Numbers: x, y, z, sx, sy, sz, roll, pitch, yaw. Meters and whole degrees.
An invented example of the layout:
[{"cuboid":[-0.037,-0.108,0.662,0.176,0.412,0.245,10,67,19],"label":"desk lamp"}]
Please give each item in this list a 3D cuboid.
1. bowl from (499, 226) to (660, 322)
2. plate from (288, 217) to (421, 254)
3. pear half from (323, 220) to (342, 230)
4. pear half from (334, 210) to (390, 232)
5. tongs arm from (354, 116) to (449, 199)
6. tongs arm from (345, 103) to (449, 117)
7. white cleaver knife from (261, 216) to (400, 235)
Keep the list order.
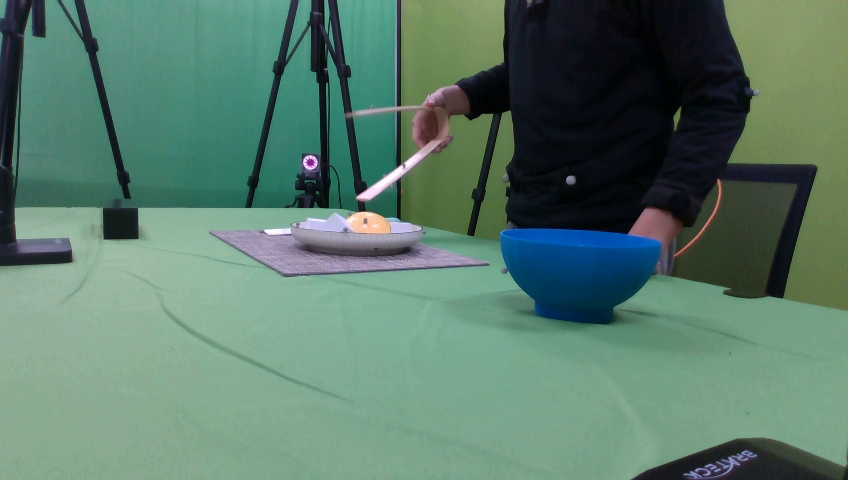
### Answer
[{"cuboid":[0.145,0.032,0.583,0.151,0.077,0.151,2,7,0],"label":"bowl"},{"cuboid":[-0.109,-0.007,0.956,0.208,0.039,0.207,2,7,0],"label":"plate"},{"cuboid":[-0.126,-0.019,1.001,0.088,0.031,0.070,8,4,1],"label":"pear half"},{"cuboid":[-0.107,-0.017,0.920,0.110,0.056,0.076,-5,5,-20],"label":"pear half"},{"cuboid":[-0.029,-0.160,1.096,0.026,0.051,0.385,3,23,23],"label":"tongs arm"},{"cuboid":[-0.034,-0.228,1.072,0.027,0.028,0.389,-1,12,23],"label":"tongs arm"},{"cuboid":[-0.168,-0.023,1.155,0.288,0.021,0.065,-7,15,-33],"label":"white cleaver knife"}]
